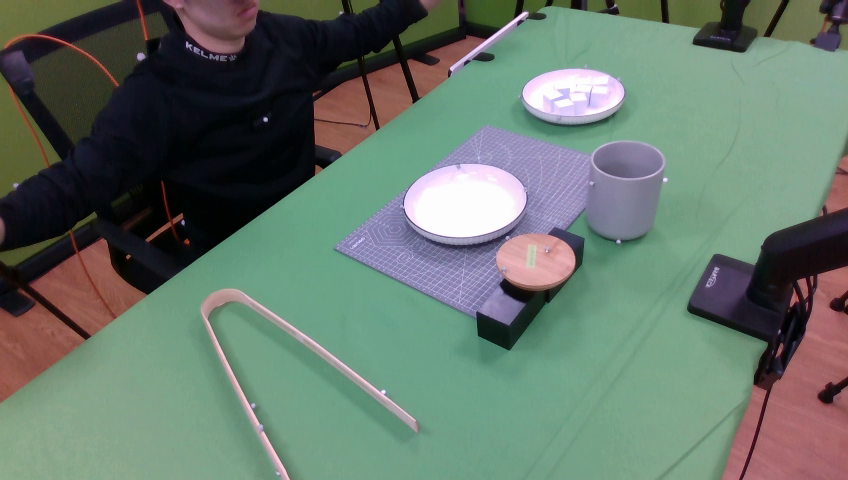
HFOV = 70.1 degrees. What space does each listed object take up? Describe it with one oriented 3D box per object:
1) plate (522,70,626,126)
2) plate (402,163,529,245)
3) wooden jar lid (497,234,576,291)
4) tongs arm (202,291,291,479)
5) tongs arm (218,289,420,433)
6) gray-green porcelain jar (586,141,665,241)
[{"bbox_3d":[0.308,-0.290,1.251,0.207,0.039,0.206,-4,40,4],"label":"plate"},{"bbox_3d":[0.069,-0.056,1.008,0.209,0.038,0.208,-4,40,4],"label":"plate"},{"bbox_3d":[0.155,0.032,0.834,0.108,0.021,0.108,-5,40,5],"label":"wooden jar lid"},{"bbox_3d":[-0.216,0.186,0.772,0.051,0.026,0.381,-28,44,-24],"label":"tongs arm"},{"bbox_3d":[-0.153,0.150,0.811,0.384,0.028,0.028,26,53,33],"label":"tongs arm"},{"bbox_3d":[0.305,-0.071,0.927,0.106,0.127,0.105,-4,41,4],"label":"gray-green porcelain jar"}]
